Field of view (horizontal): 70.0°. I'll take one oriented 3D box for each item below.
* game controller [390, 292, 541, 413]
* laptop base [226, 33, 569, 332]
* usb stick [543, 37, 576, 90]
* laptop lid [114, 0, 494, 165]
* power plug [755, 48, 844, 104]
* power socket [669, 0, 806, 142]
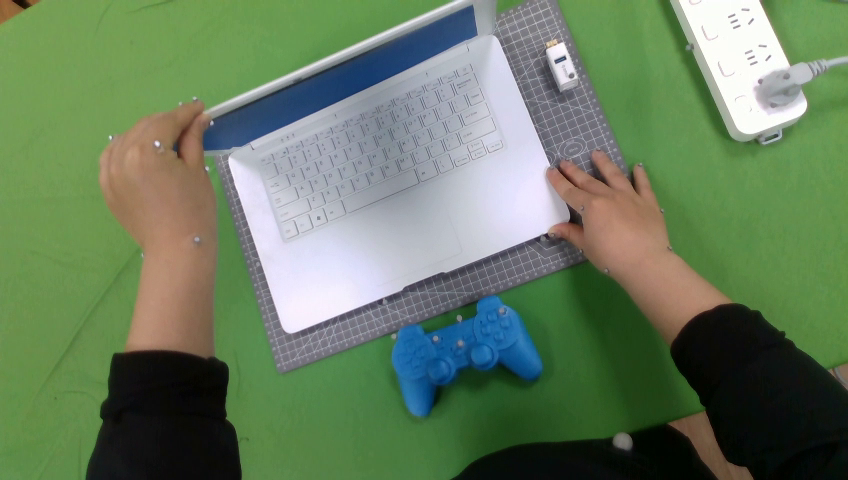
[{"bbox_3d":[0.038,0.119,0.646,0.155,0.052,0.096,-21,75,9],"label":"game controller"},{"bbox_3d":[-0.041,-0.063,0.696,0.354,0.023,0.234,-23,83,9],"label":"laptop base"},{"bbox_3d":[0.146,-0.197,0.662,0.021,0.027,0.059,-23,78,14],"label":"usb stick"},{"bbox_3d":[-0.096,-0.152,0.597,0.356,0.241,0.013,-22,98,11],"label":"laptop lid"},{"bbox_3d":[0.361,-0.153,0.588,0.072,0.053,0.035,-9,81,7],"label":"power plug"},{"bbox_3d":[0.314,-0.209,0.624,0.072,0.033,0.225,-21,80,11],"label":"power socket"}]
